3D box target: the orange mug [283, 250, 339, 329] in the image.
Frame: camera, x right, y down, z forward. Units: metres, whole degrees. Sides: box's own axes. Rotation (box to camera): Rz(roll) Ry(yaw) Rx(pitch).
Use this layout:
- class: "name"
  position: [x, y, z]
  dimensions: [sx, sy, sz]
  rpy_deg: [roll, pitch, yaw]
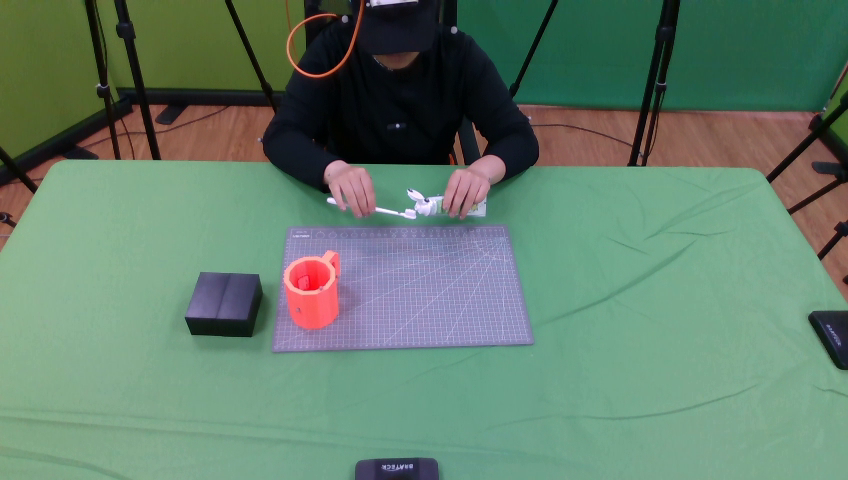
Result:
- class: "orange mug"
  position: [-0.186, 0.079, 1.052]
  dimensions: [0.083, 0.101, 0.126]
  rpy_deg: [20, 52, 15]

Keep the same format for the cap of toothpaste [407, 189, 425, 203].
- class: "cap of toothpaste"
  position: [-0.016, -0.081, 1.127]
  dimensions: [0.037, 0.011, 0.037]
  rpy_deg: [27, 24, -13]

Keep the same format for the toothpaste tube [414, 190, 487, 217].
- class: "toothpaste tube"
  position: [0.054, -0.070, 1.184]
  dimensions: [0.165, 0.055, 0.034]
  rpy_deg: [-4, 18, -31]

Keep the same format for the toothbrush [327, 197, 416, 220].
- class: "toothbrush"
  position: [-0.102, -0.063, 1.165]
  dimensions: [0.181, 0.017, 0.014]
  rpy_deg: [11, 43, 10]
